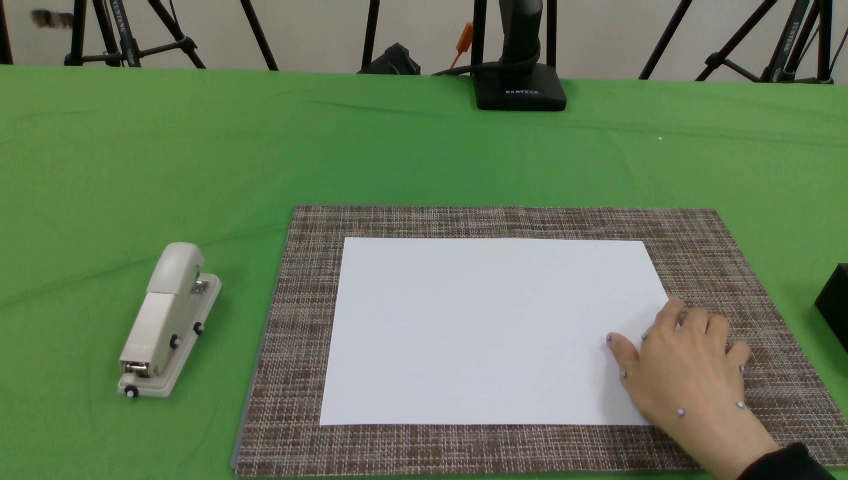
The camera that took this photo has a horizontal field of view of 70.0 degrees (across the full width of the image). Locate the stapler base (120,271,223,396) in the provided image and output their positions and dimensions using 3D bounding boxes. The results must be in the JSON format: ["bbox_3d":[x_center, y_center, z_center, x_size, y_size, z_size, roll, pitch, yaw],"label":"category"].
[{"bbox_3d":[-0.206,0.067,0.499,0.041,0.024,0.129,3,43,4],"label":"stapler base"}]

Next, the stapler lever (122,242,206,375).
[{"bbox_3d":[-0.205,0.049,0.481,0.027,0.040,0.117,3,43,4],"label":"stapler lever"}]
